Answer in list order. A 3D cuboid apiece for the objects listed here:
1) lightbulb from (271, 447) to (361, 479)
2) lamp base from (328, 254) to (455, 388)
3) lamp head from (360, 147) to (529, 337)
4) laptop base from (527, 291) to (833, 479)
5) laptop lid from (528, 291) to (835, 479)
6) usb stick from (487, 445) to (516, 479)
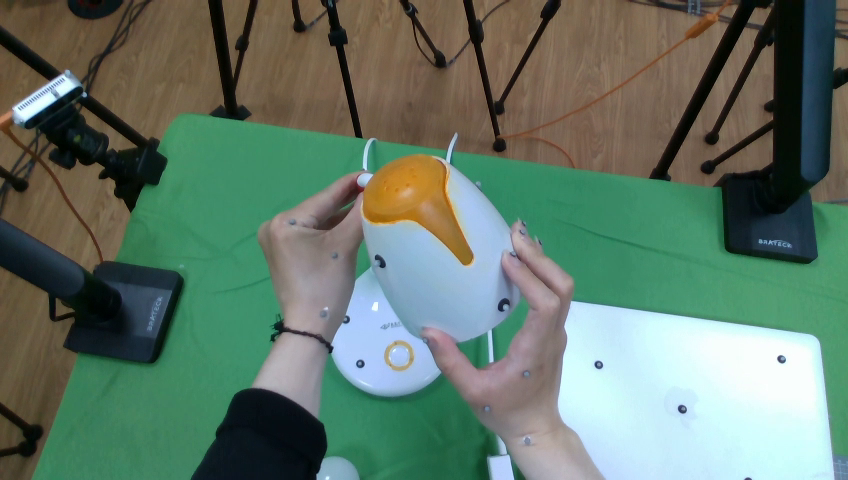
[{"bbox_3d":[-0.124,0.263,0.684,0.107,0.060,0.059,1,66,16],"label":"lightbulb"},{"bbox_3d":[-0.045,0.065,0.698,0.161,0.181,0.177,-20,66,-9],"label":"lamp base"},{"bbox_3d":[0.004,-0.009,0.438,0.112,0.124,0.111,-20,39,17],"label":"lamp head"},{"bbox_3d":[0.308,0.196,0.738,0.354,0.023,0.234,8,70,2],"label":"laptop base"},{"bbox_3d":[0.307,0.193,0.726,0.356,0.013,0.240,9,68,3],"label":"laptop lid"},{"bbox_3d":[0.090,0.268,0.698,0.027,0.021,0.059,-5,76,-4],"label":"usb stick"}]
